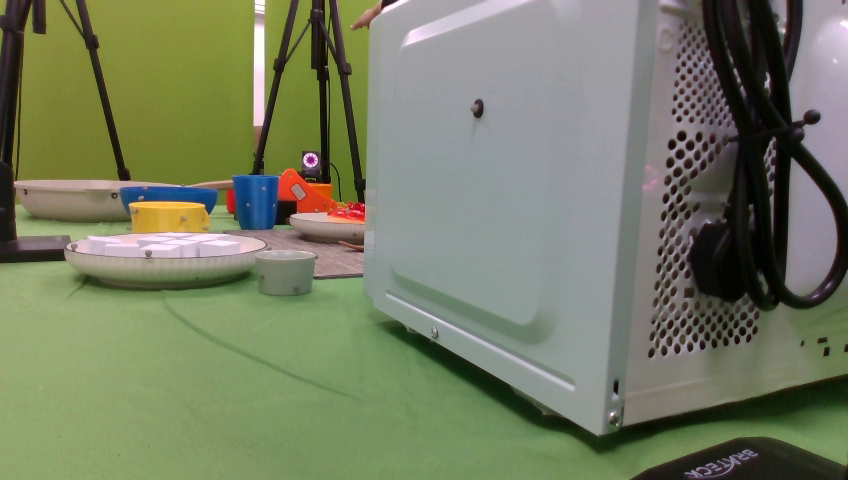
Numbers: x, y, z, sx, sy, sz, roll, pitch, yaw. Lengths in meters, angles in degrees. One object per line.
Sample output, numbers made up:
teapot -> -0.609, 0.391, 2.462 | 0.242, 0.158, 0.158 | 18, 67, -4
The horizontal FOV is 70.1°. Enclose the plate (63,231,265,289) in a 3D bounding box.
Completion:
plate -> -0.288, 0.021, 0.687 | 0.208, 0.039, 0.207 | 2, 8, 0

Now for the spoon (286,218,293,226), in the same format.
spoon -> -0.180, -0.036, 1.209 | 0.195, 0.021, 0.041 | -3, -11, -31

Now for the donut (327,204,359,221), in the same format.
donut -> -0.120, -0.037, 1.056 | 0.099, 0.048, 0.099 | 5, 6, 0

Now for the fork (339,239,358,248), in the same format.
fork -> -0.027, 0.003, 0.925 | 0.208, 0.018, 0.028 | -2, -2, -19

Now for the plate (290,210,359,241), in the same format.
plate -> -0.127, -0.025, 1.051 | 0.209, 0.038, 0.209 | 2, 7, 0

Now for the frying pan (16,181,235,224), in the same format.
frying pan -> -0.554, -0.097, 1.266 | 0.490, 0.102, 0.305 | -10, 13, -24

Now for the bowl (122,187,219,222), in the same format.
bowl -> -0.421, -0.046, 1.012 | 0.151, 0.077, 0.151 | 2, 8, 0

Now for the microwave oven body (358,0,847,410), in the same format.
microwave oven body -> 0.210, -0.051, 0.471 | 0.444, 0.260, 0.324 | -1, 7, -28

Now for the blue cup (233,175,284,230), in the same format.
blue cup -> -0.314, -0.071, 1.141 | 0.093, 0.100, 0.092 | 0, 7, 0

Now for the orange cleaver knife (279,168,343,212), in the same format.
orange cleaver knife -> -0.236, -0.084, 1.332 | 0.212, 0.077, 0.012 | 31, -10, -31

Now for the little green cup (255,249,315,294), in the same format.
little green cup -> -0.144, 0.032, 0.627 | 0.061, 0.038, 0.061 | 2, 6, 0

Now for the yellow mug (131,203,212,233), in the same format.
yellow mug -> -0.356, -0.020, 0.878 | 0.099, 0.064, 0.131 | 5, 7, 22

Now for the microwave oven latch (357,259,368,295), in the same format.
microwave oven latch -> -0.019, 0.031, 0.529 | 0.079, 0.029, 0.030 | -1, 7, -26

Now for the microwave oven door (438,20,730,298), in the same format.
microwave oven door -> 0.181, -0.076, 0.618 | 0.358, 0.243, 0.039 | -2, 8, -28
